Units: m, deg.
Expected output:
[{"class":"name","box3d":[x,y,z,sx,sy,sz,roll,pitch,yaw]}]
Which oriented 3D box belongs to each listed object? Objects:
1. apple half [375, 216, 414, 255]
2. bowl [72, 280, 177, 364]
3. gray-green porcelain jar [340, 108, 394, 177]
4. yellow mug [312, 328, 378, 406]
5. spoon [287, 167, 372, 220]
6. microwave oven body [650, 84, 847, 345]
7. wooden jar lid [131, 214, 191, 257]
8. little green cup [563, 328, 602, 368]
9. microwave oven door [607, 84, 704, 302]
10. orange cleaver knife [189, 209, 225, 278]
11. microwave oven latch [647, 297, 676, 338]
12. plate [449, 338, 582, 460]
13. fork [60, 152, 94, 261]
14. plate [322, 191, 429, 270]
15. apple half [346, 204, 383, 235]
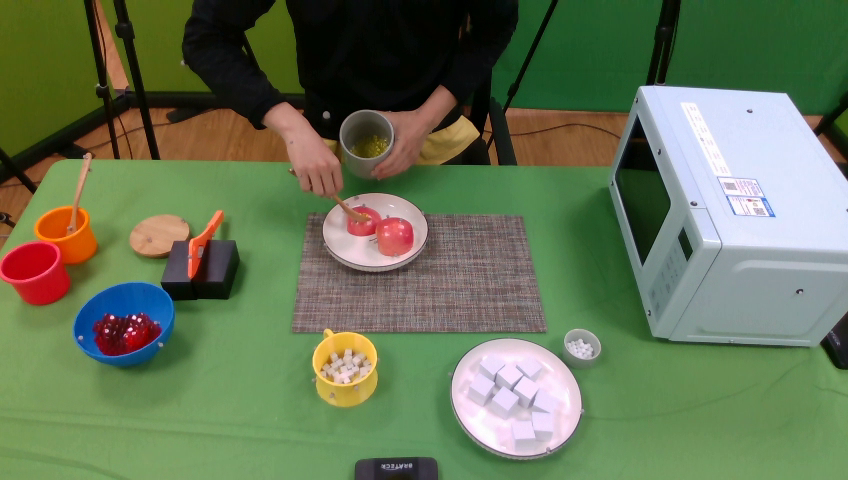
[{"class":"apple half","box3d":[-0.055,-0.017,1.168,0.075,0.053,0.080,0,46,-7]},{"class":"bowl","box3d":[-0.473,0.147,0.982,0.151,0.077,0.150,2,46,-2]},{"class":"gray-green porcelain jar","box3d":[-0.112,-0.190,1.216,0.106,0.127,0.105,1,76,-3]},{"class":"yellow mug","box3d":[-0.132,0.193,0.971,0.100,0.064,0.130,-22,51,-22]},{"class":"spoon","box3d":[-0.172,-0.084,1.114,0.041,0.195,0.021,10,69,53]},{"class":"microwave oven body","box3d":[0.569,-0.054,1.116,0.326,0.261,0.439,2,46,-1]},{"class":"wooden jar lid","box3d":[-0.504,-0.008,1.167,0.108,0.021,0.107,3,46,-3]},{"class":"little green cup","box3d":[0.266,0.185,1.025,0.061,0.039,0.061,2,45,-2]},{"class":"microwave oven door","box3d":[0.424,-0.096,1.138,0.039,0.245,0.353,3,46,-1]},{"class":"orange cleaver knife","box3d":[-0.401,0.002,1.122,0.012,0.077,0.210,3,22,-4]},{"class":"microwave oven latch","box3d":[0.413,0.133,1.060,0.030,0.029,0.078,5,46,2]},{"class":"plate","box3d":[0.141,0.251,0.956,0.208,0.039,0.206,2,46,-2]},{"class":"fork","box3d":[-0.638,-0.063,1.119,0.028,0.018,0.207,12,90,8]},{"class":"plate","box3d":[-0.094,-0.015,1.185,0.209,0.038,0.208,2,46,-2]},{"class":"apple half","box3d":[-0.119,-0.049,1.207,0.081,0.033,0.081,2,51,-3]}]
